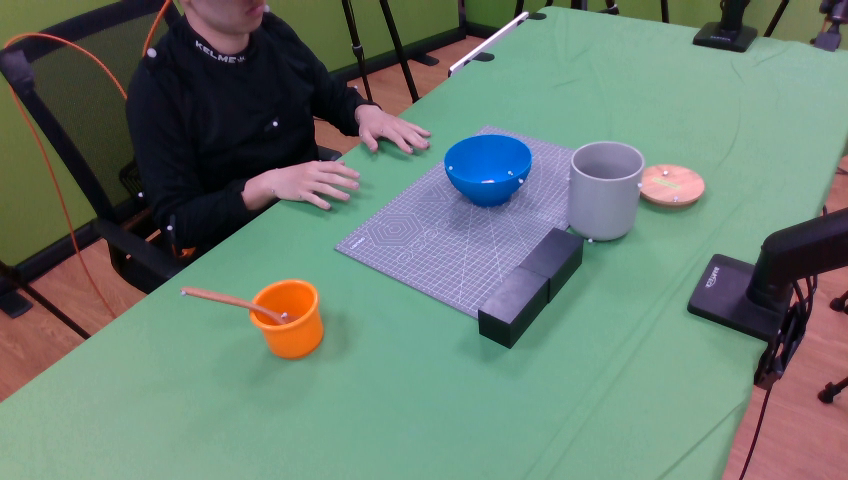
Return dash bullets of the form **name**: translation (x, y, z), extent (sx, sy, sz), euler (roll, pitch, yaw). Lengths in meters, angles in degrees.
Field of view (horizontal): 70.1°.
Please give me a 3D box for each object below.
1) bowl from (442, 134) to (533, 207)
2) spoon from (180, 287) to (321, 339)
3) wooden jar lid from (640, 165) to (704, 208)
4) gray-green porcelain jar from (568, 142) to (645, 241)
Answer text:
- **bowl**: translation (0.110, -0.109, 1.033), extent (0.151, 0.077, 0.150), euler (-4, 41, 4)
- **spoon**: translation (-0.223, 0.093, 0.796), extent (0.021, 0.195, 0.041), euler (-47, 36, 23)
- **wooden jar lid**: translation (0.410, -0.089, 1.015), extent (0.108, 0.021, 0.108), euler (-5, 42, 5)
- **gray-green porcelain jar**: translation (0.276, -0.070, 0.931), extent (0.106, 0.127, 0.105), euler (-4, 41, 4)
